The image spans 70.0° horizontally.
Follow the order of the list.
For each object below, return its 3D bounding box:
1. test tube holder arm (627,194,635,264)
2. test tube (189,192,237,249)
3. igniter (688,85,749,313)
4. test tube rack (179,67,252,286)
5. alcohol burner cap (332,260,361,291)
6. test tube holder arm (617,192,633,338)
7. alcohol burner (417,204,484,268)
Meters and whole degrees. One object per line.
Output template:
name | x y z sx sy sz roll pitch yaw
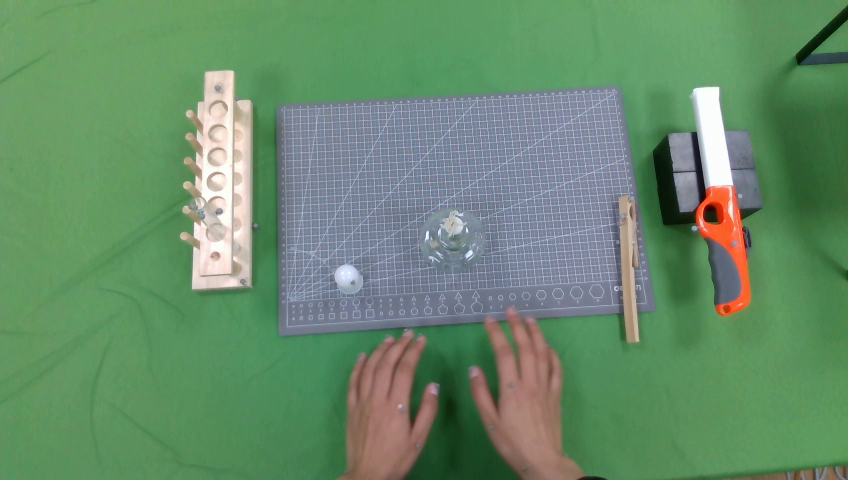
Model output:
test tube holder arm | 0.250 -0.013 0.742 0.010 0.015 0.087 13 73 -28
test tube | -0.223 -0.018 0.651 0.017 0.151 0.017 1 73 -4
igniter | 0.340 -0.053 0.705 0.057 0.025 0.275 -2 75 5
test tube rack | -0.248 -0.073 0.714 0.067 0.085 0.241 -3 76 -1
alcohol burner cap | -0.092 0.040 0.710 0.034 0.048 0.033 0 75 -1
test tube holder arm | 0.242 0.029 0.728 0.013 0.015 0.177 13 73 -28
alcohol burner | 0.031 -0.008 0.688 0.078 0.119 0.077 0 77 0
